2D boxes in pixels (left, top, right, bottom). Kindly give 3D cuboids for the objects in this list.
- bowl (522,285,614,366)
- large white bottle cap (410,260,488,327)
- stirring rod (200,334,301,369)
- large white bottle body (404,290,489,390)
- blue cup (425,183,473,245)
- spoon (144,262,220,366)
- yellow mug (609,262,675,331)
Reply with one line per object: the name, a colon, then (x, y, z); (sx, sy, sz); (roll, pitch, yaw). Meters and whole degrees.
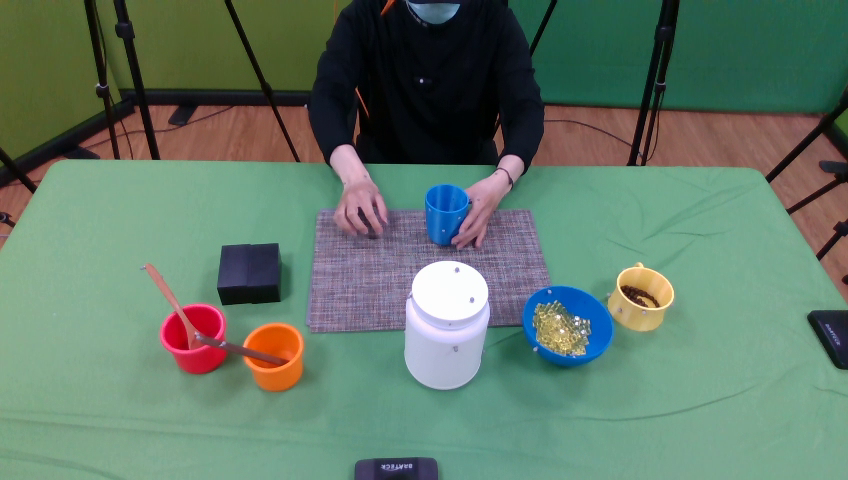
bowl: (0.235, 0.158, 1.022); (0.151, 0.077, 0.150); (2, 46, -2)
large white bottle cap: (0.037, 0.077, 0.893); (0.115, 0.018, 0.114); (2, 47, -2)
stirring rod: (-0.262, 0.173, 0.930); (0.177, 0.006, 0.014); (28, 26, -39)
large white bottle body: (0.034, 0.136, 0.955); (0.131, 0.185, 0.130); (2, 46, -2)
blue cup: (0.041, -0.045, 1.182); (0.093, 0.101, 0.092); (2, 44, -2)
spoon: (-0.389, 0.118, 0.971); (0.041, 0.021, 0.194); (-34, 101, -33)
yellow mug: (0.393, 0.094, 1.103); (0.100, 0.064, 0.130); (7, 45, 4)
